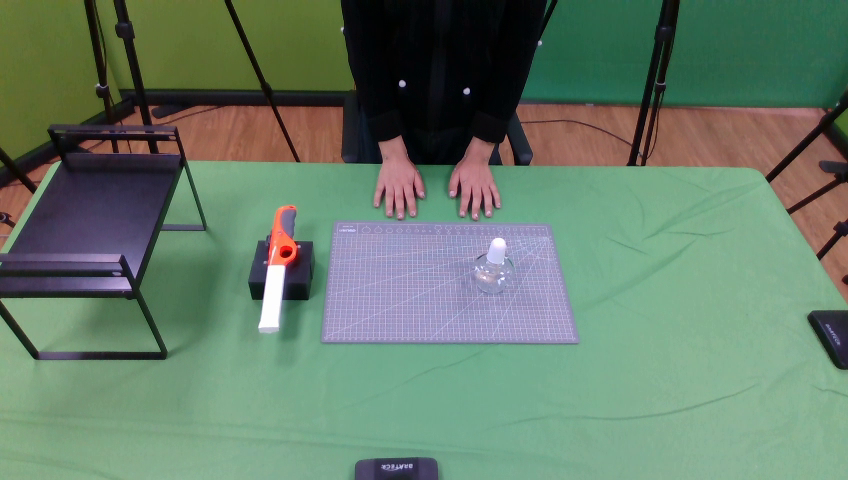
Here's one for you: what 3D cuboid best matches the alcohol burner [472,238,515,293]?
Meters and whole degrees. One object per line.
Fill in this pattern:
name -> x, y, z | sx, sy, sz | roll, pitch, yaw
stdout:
alcohol burner -> 0.128, 0.041, 1.101 | 0.078, 0.120, 0.077 | 1, 47, -1

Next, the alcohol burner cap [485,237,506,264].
alcohol burner cap -> 0.129, 0.016, 1.076 | 0.034, 0.048, 0.033 | 6, 42, -5

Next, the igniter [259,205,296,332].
igniter -> -0.259, 0.040, 1.071 | 0.057, 0.025, 0.274 | 0, 50, -5
